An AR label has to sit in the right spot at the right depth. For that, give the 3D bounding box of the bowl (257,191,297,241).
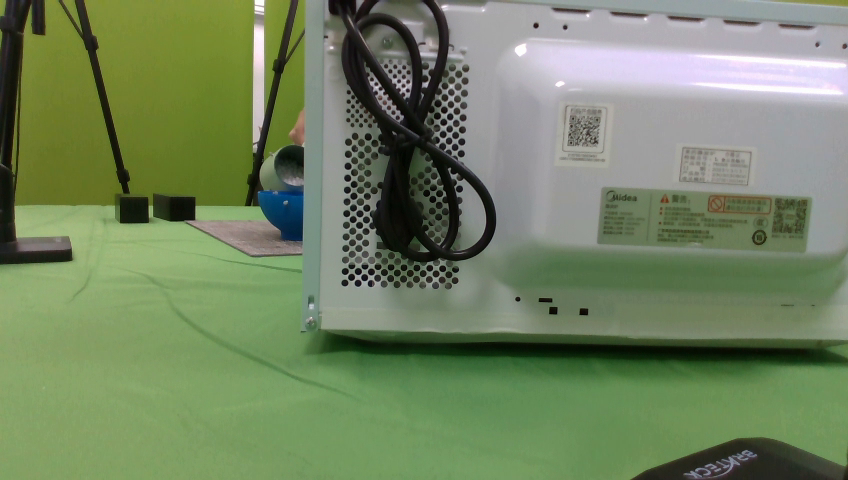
[{"bbox_3d":[-0.206,-0.040,1.026,0.151,0.077,0.151,3,7,0],"label":"bowl"}]

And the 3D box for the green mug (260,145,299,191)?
[{"bbox_3d":[-0.244,-0.138,1.126,0.093,0.125,0.104,30,-20,-17],"label":"green mug"}]

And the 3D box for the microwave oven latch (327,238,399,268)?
[{"bbox_3d":[-0.069,0.015,0.694,0.079,0.029,0.030,3,7,-3],"label":"microwave oven latch"}]

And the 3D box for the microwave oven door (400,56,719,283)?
[{"bbox_3d":[0.155,-0.077,0.697,0.356,0.243,0.039,2,8,-5],"label":"microwave oven door"}]

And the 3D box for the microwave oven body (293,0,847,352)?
[{"bbox_3d":[0.122,-0.055,0.550,0.442,0.260,0.325,3,7,-5],"label":"microwave oven body"}]
